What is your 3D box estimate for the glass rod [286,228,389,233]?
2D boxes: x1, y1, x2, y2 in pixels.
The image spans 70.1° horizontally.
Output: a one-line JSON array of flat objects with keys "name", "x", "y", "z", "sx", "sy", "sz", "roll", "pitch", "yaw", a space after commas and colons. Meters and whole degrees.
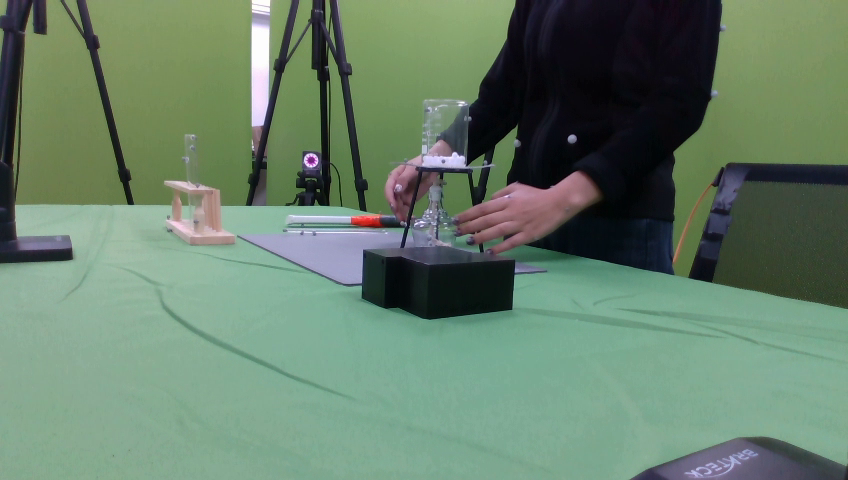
[{"name": "glass rod", "x": -0.153, "y": -0.016, "z": 1.101, "sx": 0.201, "sy": 0.008, "sz": 0.008, "roll": 1, "pitch": 7, "yaw": -31}]

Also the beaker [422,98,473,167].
[{"name": "beaker", "x": 0.031, "y": -0.162, "z": 0.919, "sx": 0.074, "sy": 0.100, "sz": 0.083, "roll": -4, "pitch": 10, "yaw": -36}]

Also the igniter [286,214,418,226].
[{"name": "igniter", "x": -0.145, "y": -0.043, "z": 1.263, "sx": 0.278, "sy": 0.025, "sz": 0.057, "roll": -1, "pitch": -2, "yaw": -24}]

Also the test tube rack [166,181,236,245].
[{"name": "test tube rack", "x": -0.383, "y": -0.051, "z": 1.024, "sx": 0.067, "sy": 0.085, "sz": 0.241, "roll": -2, "pitch": 9, "yaw": -31}]

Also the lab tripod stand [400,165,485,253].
[{"name": "lab tripod stand", "x": 0.027, "y": -0.049, "z": 0.930, "sx": 0.148, "sy": 0.131, "sz": 0.148, "roll": 3, "pitch": 9, "yaw": 0}]

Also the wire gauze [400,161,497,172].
[{"name": "wire gauze", "x": 0.027, "y": -0.114, "z": 0.920, "sx": 0.122, "sy": 0.011, "sz": 0.124, "roll": -5, "pitch": 12, "yaw": -34}]

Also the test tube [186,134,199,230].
[{"name": "test tube", "x": -0.360, "y": -0.089, "z": 0.946, "sx": 0.017, "sy": 0.150, "sz": 0.017, "roll": 0, "pitch": 10, "yaw": 0}]

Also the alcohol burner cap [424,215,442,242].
[{"name": "alcohol burner cap", "x": 0.017, "y": -0.022, "z": 1.098, "sx": 0.034, "sy": 0.048, "sz": 0.034, "roll": 2, "pitch": 9, "yaw": 0}]

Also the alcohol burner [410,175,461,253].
[{"name": "alcohol burner", "x": 0.018, "y": -0.040, "z": 0.931, "sx": 0.078, "sy": 0.119, "sz": 0.078, "roll": 0, "pitch": 7, "yaw": 0}]
